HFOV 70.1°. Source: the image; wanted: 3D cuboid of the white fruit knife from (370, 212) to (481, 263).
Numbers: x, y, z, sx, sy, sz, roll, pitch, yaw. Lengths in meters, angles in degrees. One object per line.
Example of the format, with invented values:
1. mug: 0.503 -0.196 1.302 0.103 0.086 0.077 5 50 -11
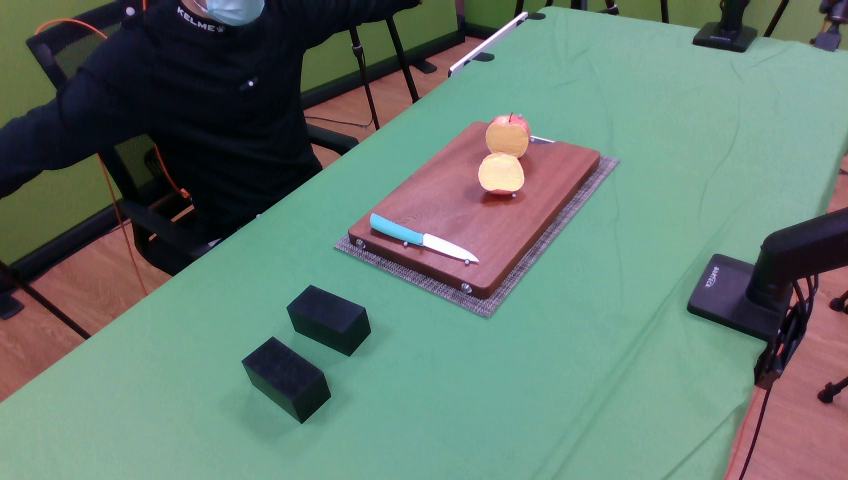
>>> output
1. white fruit knife: -0.003 -0.002 0.930 0.206 0.016 0.027 20 62 26

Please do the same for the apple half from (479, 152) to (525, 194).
1. apple half: 0.131 -0.108 1.016 0.081 0.033 0.081 0 66 1

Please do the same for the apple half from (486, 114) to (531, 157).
1. apple half: 0.155 -0.190 1.084 0.080 0.075 0.053 5 38 20
